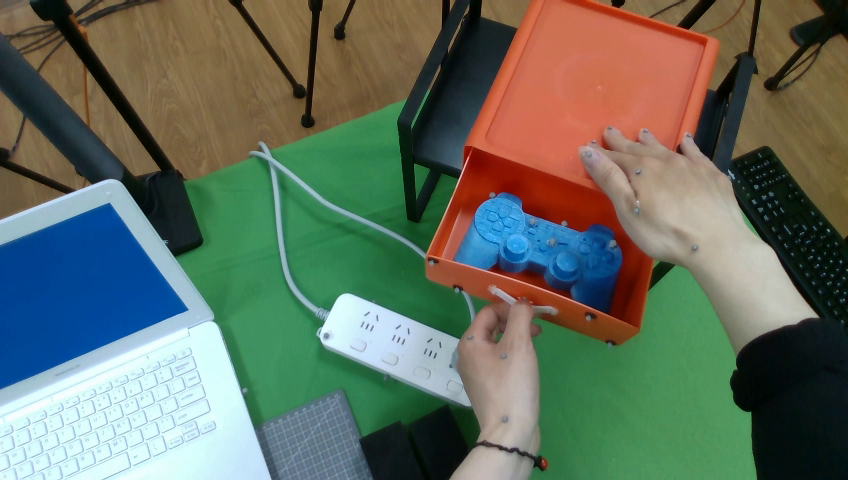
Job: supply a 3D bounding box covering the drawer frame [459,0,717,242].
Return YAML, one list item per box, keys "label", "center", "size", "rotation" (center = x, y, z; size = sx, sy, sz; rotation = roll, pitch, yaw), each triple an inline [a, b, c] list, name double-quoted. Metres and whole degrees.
- label: "drawer frame"
  center: [0.165, -0.134, 0.619]
  size: [0.201, 0.083, 0.212]
  rotation: [20, 70, 8]

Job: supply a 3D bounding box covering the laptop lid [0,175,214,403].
- label: "laptop lid"
  center: [-0.441, 0.081, 0.651]
  size: [0.357, 0.244, 0.013]
  rotation: [-25, 46, -8]

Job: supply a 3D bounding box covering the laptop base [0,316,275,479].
- label: "laptop base"
  center: [-0.370, 0.259, 0.696]
  size: [0.354, 0.023, 0.234]
  rotation: [-24, 73, -9]

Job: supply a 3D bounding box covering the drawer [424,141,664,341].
- label: "drawer"
  center: [0.126, -0.034, 0.583]
  size: [0.194, 0.074, 0.210]
  rotation: [19, 70, 8]

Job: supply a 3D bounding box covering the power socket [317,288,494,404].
- label: "power socket"
  center: [-0.022, 0.128, 0.738]
  size: [0.226, 0.033, 0.072]
  rotation: [22, 71, 9]

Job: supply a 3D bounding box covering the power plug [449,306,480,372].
- label: "power plug"
  center: [0.057, 0.121, 0.716]
  size: [0.035, 0.053, 0.072]
  rotation: [31, 70, 11]

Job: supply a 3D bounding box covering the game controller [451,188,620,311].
- label: "game controller"
  center: [0.110, 0.010, 0.577]
  size: [0.155, 0.052, 0.096]
  rotation: [20, 67, 7]
